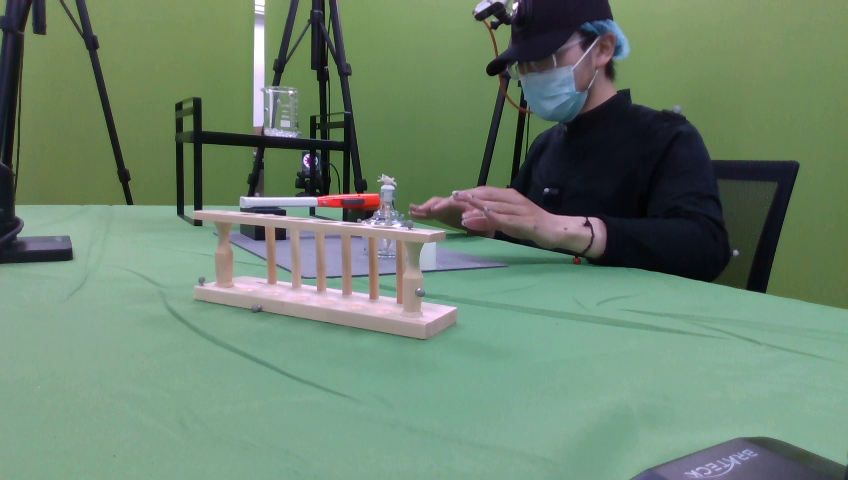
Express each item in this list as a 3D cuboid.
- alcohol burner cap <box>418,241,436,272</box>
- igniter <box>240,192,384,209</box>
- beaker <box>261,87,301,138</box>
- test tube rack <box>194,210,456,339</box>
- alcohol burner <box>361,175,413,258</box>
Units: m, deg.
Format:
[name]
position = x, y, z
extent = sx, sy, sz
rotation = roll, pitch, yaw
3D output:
[alcohol burner cap]
position = 0.001, 0.015, 0.787
extent = 0.034, 0.048, 0.034
rotation = 4, 7, 0
[igniter]
position = -0.188, -0.070, 1.078
extent = 0.278, 0.025, 0.057
rotation = -5, 11, -35
[beaker]
position = -0.298, -0.263, 1.255
extent = 0.084, 0.100, 0.073
rotation = -5, 10, -40
[test tube rack]
position = -0.093, 0.023, 0.545
extent = 0.241, 0.085, 0.067
rotation = 6, 8, 25
[alcohol burner]
position = -0.054, -0.034, 0.870
extent = 0.078, 0.119, 0.078
rotation = 1, 9, 0
